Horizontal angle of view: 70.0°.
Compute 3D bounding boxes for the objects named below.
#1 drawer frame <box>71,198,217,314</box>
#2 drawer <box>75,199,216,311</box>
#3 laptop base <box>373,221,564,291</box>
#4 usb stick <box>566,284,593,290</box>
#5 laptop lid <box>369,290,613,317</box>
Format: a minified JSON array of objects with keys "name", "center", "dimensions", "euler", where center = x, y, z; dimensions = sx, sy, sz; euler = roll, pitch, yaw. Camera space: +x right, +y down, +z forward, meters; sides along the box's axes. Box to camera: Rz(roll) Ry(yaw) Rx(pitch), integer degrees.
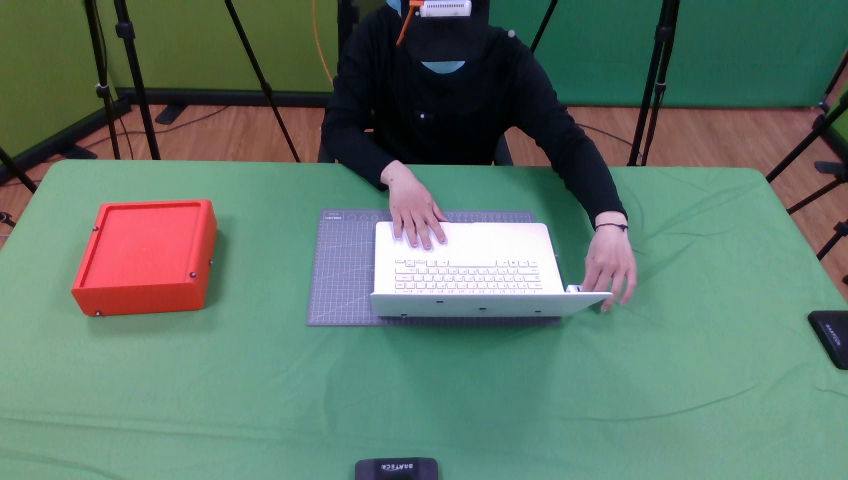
[{"name":"drawer frame","center":[-0.493,0.024,1.095],"dimensions":[0.202,0.083,0.212],"euler":[-3,47,-8]},{"name":"drawer","center":[-0.494,0.022,1.097],"dimensions":[0.195,0.073,0.210],"euler":[-2,47,-8]},{"name":"laptop base","center":[0.080,0.050,1.159],"dimensions":[0.355,0.023,0.234],"euler":[0,43,-4]},{"name":"usb stick","center":[0.278,0.096,1.113],"dimensions":[0.059,0.027,0.021],"euler":[0,45,-5]},{"name":"laptop lid","center":[0.092,0.104,0.965],"dimensions":[0.357,0.242,0.013],"euler":[0,75,-5]}]
